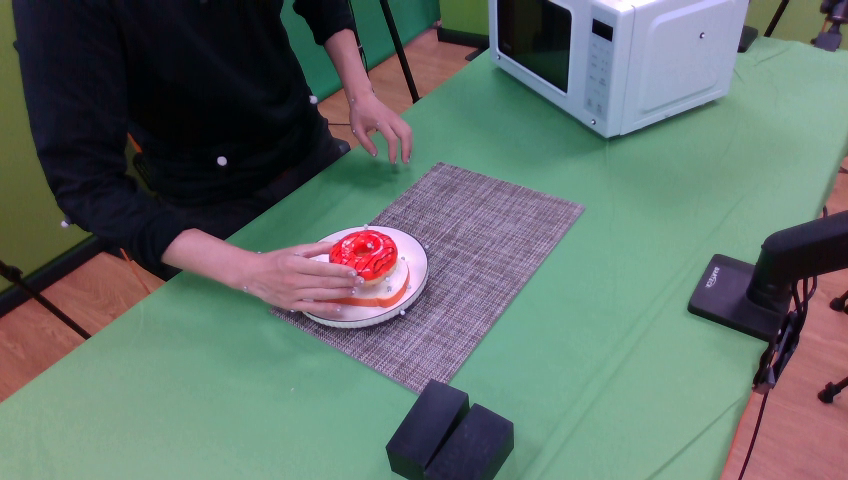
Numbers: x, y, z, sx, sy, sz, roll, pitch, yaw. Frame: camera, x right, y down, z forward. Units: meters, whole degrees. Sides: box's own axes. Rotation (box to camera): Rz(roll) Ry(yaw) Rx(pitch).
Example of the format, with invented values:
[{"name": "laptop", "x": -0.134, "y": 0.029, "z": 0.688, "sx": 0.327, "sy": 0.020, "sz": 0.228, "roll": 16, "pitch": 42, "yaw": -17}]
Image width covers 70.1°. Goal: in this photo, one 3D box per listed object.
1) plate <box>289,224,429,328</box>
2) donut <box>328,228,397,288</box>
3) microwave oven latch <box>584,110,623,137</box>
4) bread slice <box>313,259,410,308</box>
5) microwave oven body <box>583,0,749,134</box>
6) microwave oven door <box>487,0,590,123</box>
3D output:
[{"name": "plate", "x": -0.094, "y": 0.055, "z": 0.902, "sx": 0.207, "sy": 0.039, "sz": 0.206, "roll": -4, "pitch": 41, "yaw": 4}, {"name": "donut", "x": -0.086, "y": 0.024, "z": 0.847, "sx": 0.099, "sy": 0.048, "sz": 0.098, "roll": -1, "pitch": 44, "yaw": 1}, {"name": "microwave oven latch", "x": 0.337, "y": -0.222, "z": 1.142, "sx": 0.030, "sy": 0.029, "sz": 0.078, "roll": -21, "pitch": 42, "yaw": -14}, {"name": "bread slice", "x": -0.087, "y": 0.056, "z": 0.900, "sx": 0.131, "sy": 0.019, "sz": 0.104, "roll": 5, "pitch": 42, "yaw": 14}, {"name": "microwave oven body", "x": 0.382, "y": -0.445, "z": 1.246, "sx": 0.327, "sy": 0.261, "sz": 0.437, "roll": -22, "pitch": 42, "yaw": -16}, {"name": "microwave oven door", "x": 0.232, "y": -0.420, "z": 1.230, "sx": 0.039, "sy": 0.245, "sz": 0.352, "roll": -22, "pitch": 43, "yaw": -16}]
